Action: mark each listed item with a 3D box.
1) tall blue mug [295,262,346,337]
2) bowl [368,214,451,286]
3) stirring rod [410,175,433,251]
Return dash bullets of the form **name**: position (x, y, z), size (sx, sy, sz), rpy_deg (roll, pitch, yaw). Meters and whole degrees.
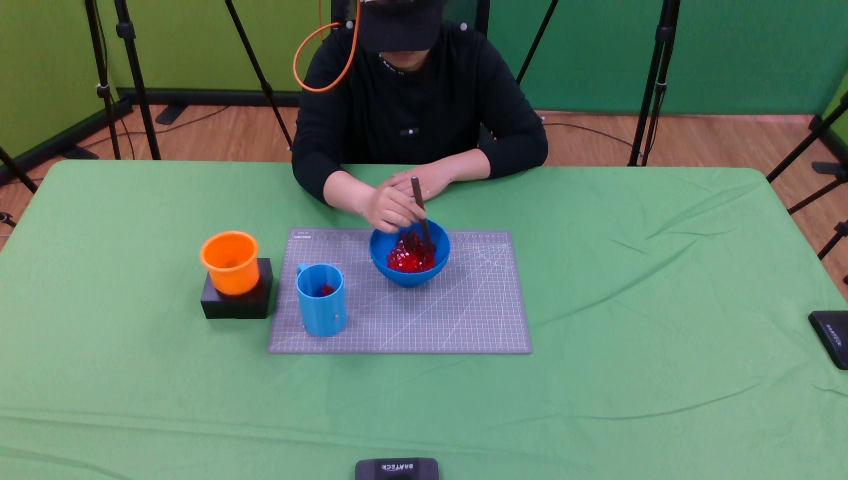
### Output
- **tall blue mug**: position (-0.187, 0.096, 1.027), size (0.107, 0.108, 0.077), rpy_deg (21, 49, 16)
- **bowl**: position (-0.027, 0.032, 1.122), size (0.151, 0.077, 0.150), rpy_deg (2, 46, -2)
- **stirring rod**: position (-0.004, -0.044, 1.067), size (0.014, 0.177, 0.006), rpy_deg (1, 45, 13)
